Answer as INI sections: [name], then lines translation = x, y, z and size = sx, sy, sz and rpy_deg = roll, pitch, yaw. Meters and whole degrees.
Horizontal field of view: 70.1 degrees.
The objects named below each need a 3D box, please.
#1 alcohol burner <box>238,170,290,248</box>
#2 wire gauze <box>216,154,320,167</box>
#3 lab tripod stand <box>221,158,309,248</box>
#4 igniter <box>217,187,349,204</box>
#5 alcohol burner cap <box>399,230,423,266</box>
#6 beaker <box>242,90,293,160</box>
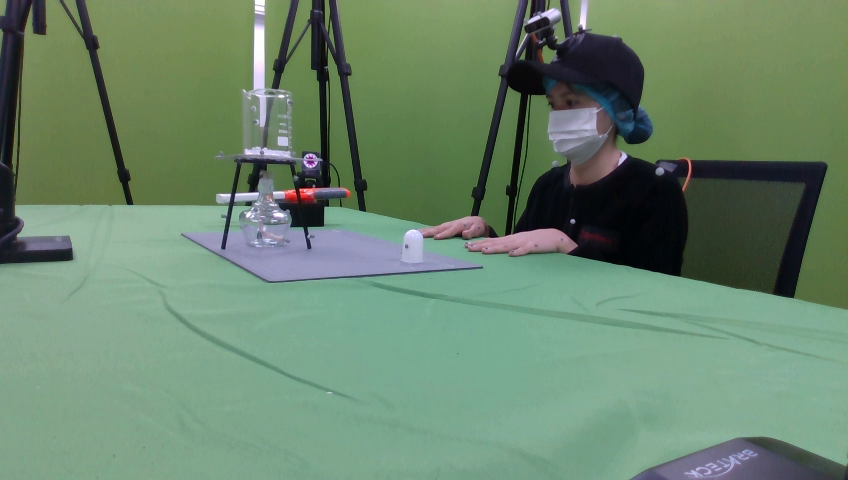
[alcohol burner]
translation = -0.244, -0.048, 0.927
size = 0.078, 0.119, 0.078
rpy_deg = 3, 5, 0
[wire gauze]
translation = -0.236, -0.121, 0.906
size = 0.126, 0.011, 0.121
rpy_deg = 0, 8, -33
[lab tripod stand]
translation = -0.244, -0.057, 0.917
size = 0.148, 0.131, 0.148
rpy_deg = 1, 7, 0
[igniter]
translation = -0.285, -0.093, 1.256
size = 0.278, 0.025, 0.057
rpy_deg = -6, 12, -34
[alcohol burner cap]
translation = -0.017, 0.010, 0.837
size = 0.034, 0.048, 0.034
rpy_deg = 3, 7, 0
[beaker]
translation = -0.235, -0.169, 0.900
size = 0.074, 0.100, 0.084
rpy_deg = 4, 7, 23
